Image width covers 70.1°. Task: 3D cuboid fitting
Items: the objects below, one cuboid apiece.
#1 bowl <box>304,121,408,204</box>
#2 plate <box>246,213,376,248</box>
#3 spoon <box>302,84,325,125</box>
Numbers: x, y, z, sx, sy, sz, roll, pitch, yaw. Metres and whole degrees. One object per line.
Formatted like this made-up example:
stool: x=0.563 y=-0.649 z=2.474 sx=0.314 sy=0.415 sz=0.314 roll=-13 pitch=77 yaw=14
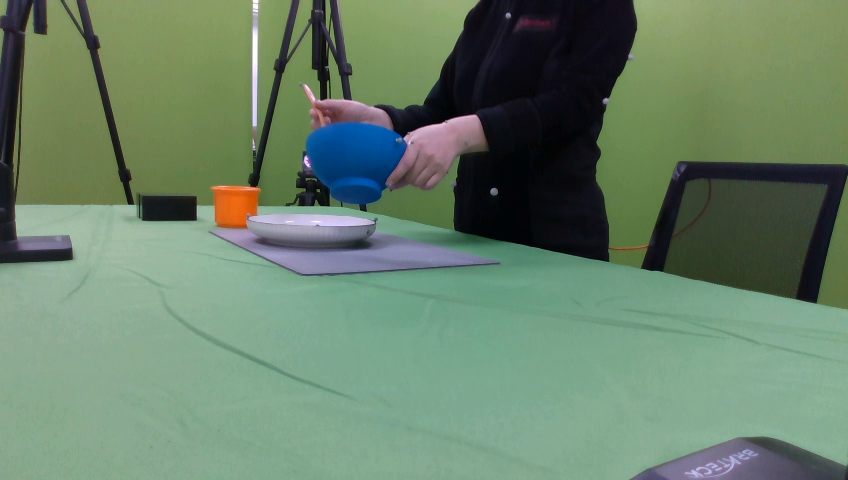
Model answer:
bowl: x=-0.099 y=-0.101 z=0.876 sx=0.151 sy=0.076 sz=0.151 roll=0 pitch=-18 yaw=0
plate: x=-0.185 y=-0.017 z=0.994 sx=0.209 sy=0.038 sz=0.209 roll=2 pitch=8 yaw=0
spoon: x=-0.181 y=-0.209 z=1.059 sx=0.042 sy=0.193 sz=0.021 roll=5 pitch=-38 yaw=-41
